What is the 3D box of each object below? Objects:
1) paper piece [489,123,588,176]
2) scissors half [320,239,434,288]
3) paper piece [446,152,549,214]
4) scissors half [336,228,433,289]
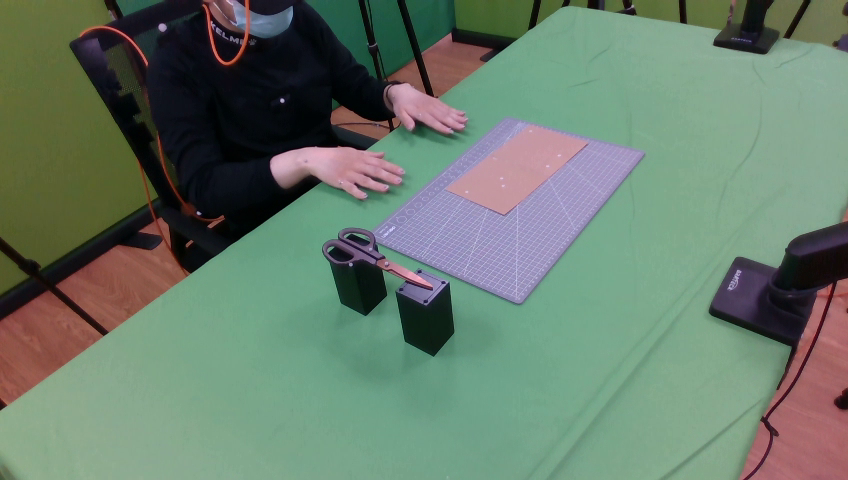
[{"bbox_3d":[0.218,-0.176,1.150,0.135,0.009,0.138,30,52,31],"label":"paper piece"},{"bbox_3d":[-0.064,0.033,0.790,0.174,0.013,0.040,17,39,22],"label":"scissors half"},{"bbox_3d":[0.130,-0.105,1.078,0.134,0.004,0.136,29,53,32],"label":"paper piece"},{"bbox_3d":[-0.052,0.023,0.803,0.173,0.013,0.040,31,51,34],"label":"scissors half"}]
